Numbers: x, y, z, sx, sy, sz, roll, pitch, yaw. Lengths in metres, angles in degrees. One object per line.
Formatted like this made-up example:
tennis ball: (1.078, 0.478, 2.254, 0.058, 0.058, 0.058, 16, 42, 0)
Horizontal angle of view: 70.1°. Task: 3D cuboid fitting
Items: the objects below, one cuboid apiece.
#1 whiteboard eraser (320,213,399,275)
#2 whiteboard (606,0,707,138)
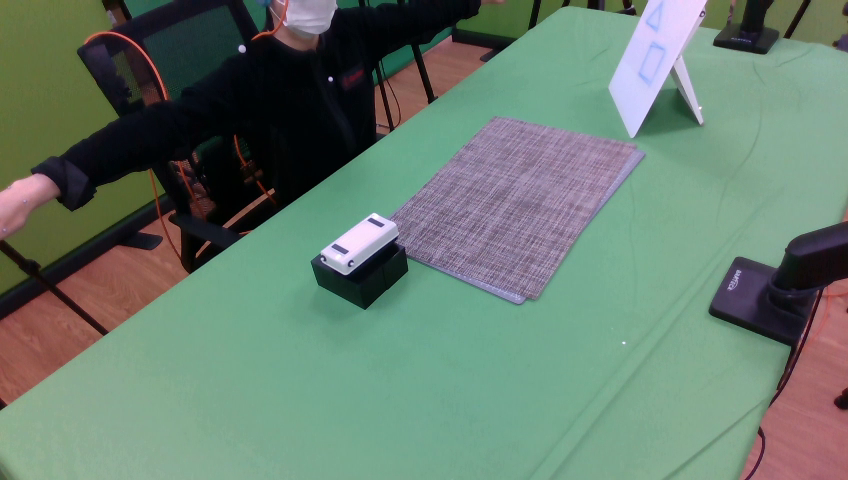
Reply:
whiteboard eraser: (-0.092, 0.007, 0.884, 0.055, 0.042, 0.113, 28, 51, 32)
whiteboard: (0.496, -0.359, 1.147, 0.144, 0.305, 0.216, 11, 40, -7)
